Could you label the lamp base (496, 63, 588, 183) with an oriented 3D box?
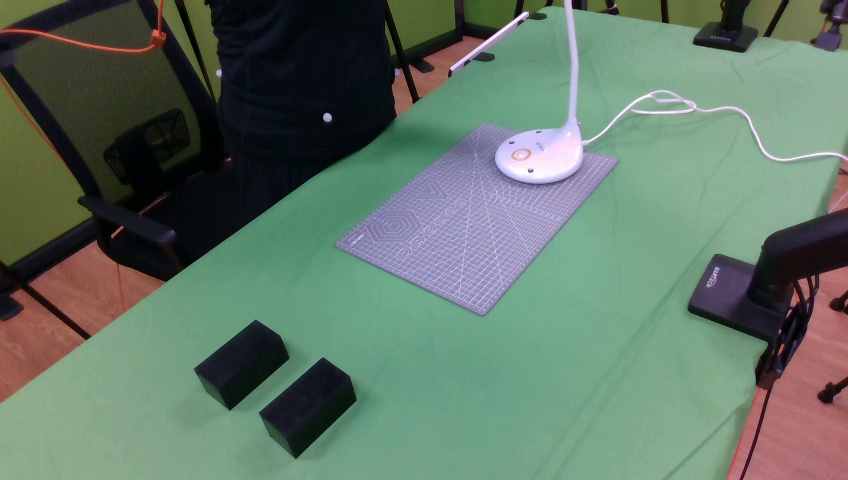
[{"bbox_3d":[0.215,-0.217,1.067,0.180,0.181,0.159,-20,42,-18],"label":"lamp base"}]
